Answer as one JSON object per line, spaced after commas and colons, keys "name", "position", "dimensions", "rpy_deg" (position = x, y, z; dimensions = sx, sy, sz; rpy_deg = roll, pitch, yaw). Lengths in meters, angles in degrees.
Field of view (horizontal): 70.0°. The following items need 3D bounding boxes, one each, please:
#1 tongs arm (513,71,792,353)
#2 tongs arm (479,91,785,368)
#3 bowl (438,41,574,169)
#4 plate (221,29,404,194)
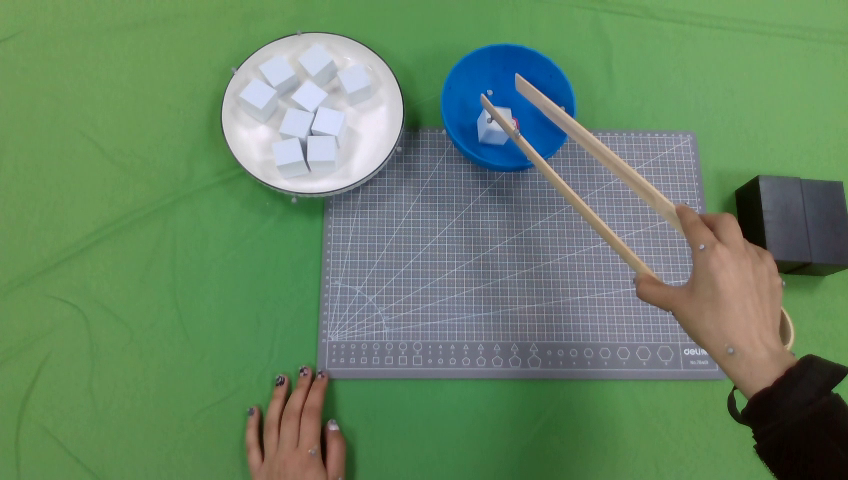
{"name": "tongs arm", "position": [0.198, -0.048, 0.581], "dimensions": [0.028, 0.028, 0.383], "rpy_deg": [-30, 59, -12]}
{"name": "tongs arm", "position": [0.174, -0.032, 0.577], "dimensions": [0.051, 0.027, 0.380], "rpy_deg": [-29, 59, -7]}
{"name": "bowl", "position": [0.088, -0.141, 0.697], "dimensions": [0.151, 0.077, 0.150], "rpy_deg": [1, 74, -3]}
{"name": "plate", "position": [-0.127, -0.148, 0.708], "dimensions": [0.208, 0.039, 0.206], "rpy_deg": [1, 74, -2]}
